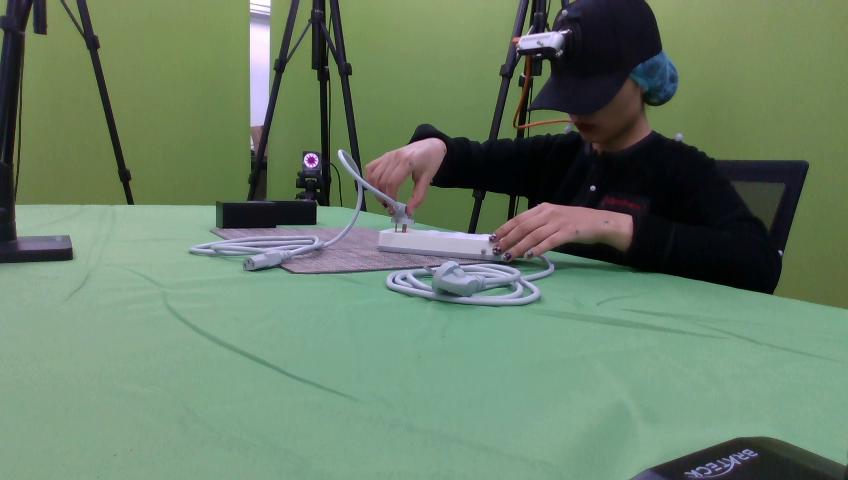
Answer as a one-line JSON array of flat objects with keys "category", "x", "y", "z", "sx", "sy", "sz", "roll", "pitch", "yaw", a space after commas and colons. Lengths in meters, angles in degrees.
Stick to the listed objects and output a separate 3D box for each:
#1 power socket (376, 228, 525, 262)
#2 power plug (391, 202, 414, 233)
[{"category": "power socket", "x": 0.037, "y": 0.005, "z": 0.913, "sx": 0.226, "sy": 0.032, "sz": 0.072, "roll": 5, "pitch": 8, "yaw": 17}, {"category": "power plug", "x": -0.041, "y": -0.030, "z": 0.904, "sx": 0.035, "sy": 0.052, "sz": 0.073, "roll": 4, "pitch": 0, "yaw": 28}]
